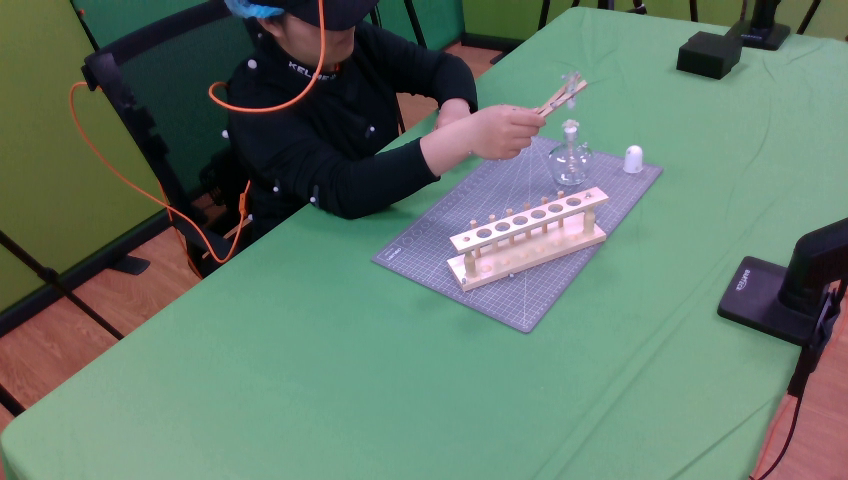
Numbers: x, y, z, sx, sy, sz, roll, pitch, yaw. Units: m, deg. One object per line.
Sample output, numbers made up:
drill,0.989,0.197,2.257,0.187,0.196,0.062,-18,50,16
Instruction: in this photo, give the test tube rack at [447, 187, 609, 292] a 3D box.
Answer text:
test tube rack,0.155,-0.011,0.913,0.243,0.085,0.066,-19,41,-11

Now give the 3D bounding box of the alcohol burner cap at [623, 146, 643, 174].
alcohol burner cap,0.369,-0.142,1.062,0.034,0.048,0.033,-7,41,6

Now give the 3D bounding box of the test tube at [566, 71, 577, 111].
test tube,0.228,-0.228,0.937,0.017,0.151,0.017,-1,85,14

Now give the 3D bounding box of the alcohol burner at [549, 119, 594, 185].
alcohol burner,0.254,-0.155,1.043,0.078,0.120,0.077,-7,40,6

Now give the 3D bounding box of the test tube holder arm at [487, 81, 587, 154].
test tube holder arm,0.174,-0.188,0.937,0.178,0.015,0.013,-36,81,17

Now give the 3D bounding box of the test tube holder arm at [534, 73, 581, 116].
test tube holder arm,0.204,-0.219,0.925,0.087,0.015,0.010,-44,79,15
